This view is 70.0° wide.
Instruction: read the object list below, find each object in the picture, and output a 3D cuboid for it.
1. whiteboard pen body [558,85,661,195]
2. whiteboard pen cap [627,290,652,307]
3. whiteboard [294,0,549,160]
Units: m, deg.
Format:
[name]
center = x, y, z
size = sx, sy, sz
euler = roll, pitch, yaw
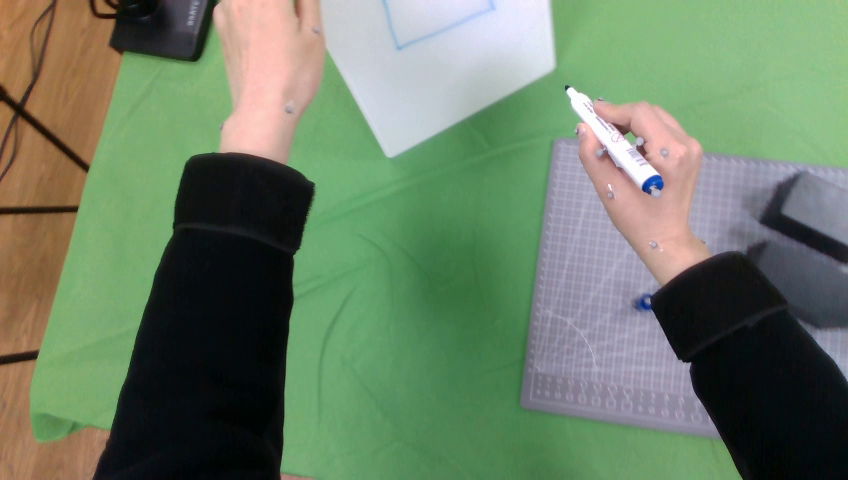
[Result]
[whiteboard pen body]
center = 0.136, -0.082, 0.462
size = 0.017, 0.017, 0.139
euler = -26, 49, 1
[whiteboard pen cap]
center = 0.222, 0.061, 0.627
size = 0.018, 0.033, 0.018
euler = 0, 83, 4
[whiteboard]
center = -0.018, -0.263, 0.591
size = 0.217, 0.308, 0.142
euler = -28, 60, 1
